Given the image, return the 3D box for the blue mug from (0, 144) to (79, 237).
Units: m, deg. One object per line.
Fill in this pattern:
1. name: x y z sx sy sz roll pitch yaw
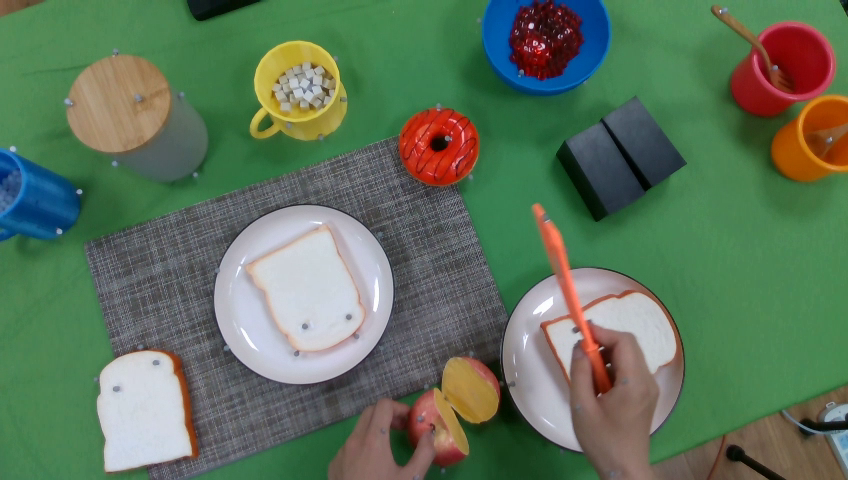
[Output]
1. blue mug: -0.475 -0.043 0.689 0.082 0.106 0.116 43 83 7

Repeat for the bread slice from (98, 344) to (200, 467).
1. bread slice: -0.322 0.187 0.695 0.105 0.019 0.131 -13 82 -3

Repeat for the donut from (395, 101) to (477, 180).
1. donut: 0.015 -0.120 0.730 0.099 0.048 0.098 0 82 0

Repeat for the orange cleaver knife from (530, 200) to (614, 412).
1. orange cleaver knife: 0.139 0.063 0.572 0.012 0.077 0.212 -21 106 3

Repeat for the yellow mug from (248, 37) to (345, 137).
1. yellow mug: -0.161 -0.173 0.731 0.131 0.064 0.099 -44 83 -6

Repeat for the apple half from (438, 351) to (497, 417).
1. apple half: 0.054 0.160 0.690 0.033 0.081 0.081 -27 79 -45

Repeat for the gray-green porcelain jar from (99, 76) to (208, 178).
1. gray-green porcelain jar: -0.315 -0.132 0.694 0.106 0.127 0.105 0 80 0

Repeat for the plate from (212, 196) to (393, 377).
1. plate: -0.138 0.054 0.706 0.208 0.039 0.207 0 81 0

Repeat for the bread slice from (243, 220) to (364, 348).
1. bread slice: -0.131 0.056 0.706 0.107 0.018 0.134 -31 82 -4

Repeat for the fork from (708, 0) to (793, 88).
1. fork: 0.381 -0.225 0.699 0.209 0.018 0.028 19 77 -40

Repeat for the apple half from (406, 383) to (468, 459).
1. apple half: 0.009 0.204 0.668 0.053 0.075 0.080 -31 82 7

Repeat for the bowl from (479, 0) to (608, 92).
1. bowl: 0.139 -0.241 0.736 0.151 0.077 0.151 0 82 0

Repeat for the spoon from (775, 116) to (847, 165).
1. spoon: 0.498 -0.145 0.686 0.022 0.194 0.041 -16 76 -48

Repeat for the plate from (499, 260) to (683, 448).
1. plate: 0.188 0.129 0.698 0.209 0.038 0.208 0 81 1

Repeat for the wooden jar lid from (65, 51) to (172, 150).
1. wooden jar lid: -0.316 -0.143 0.632 0.108 0.021 0.108 0 79 1
